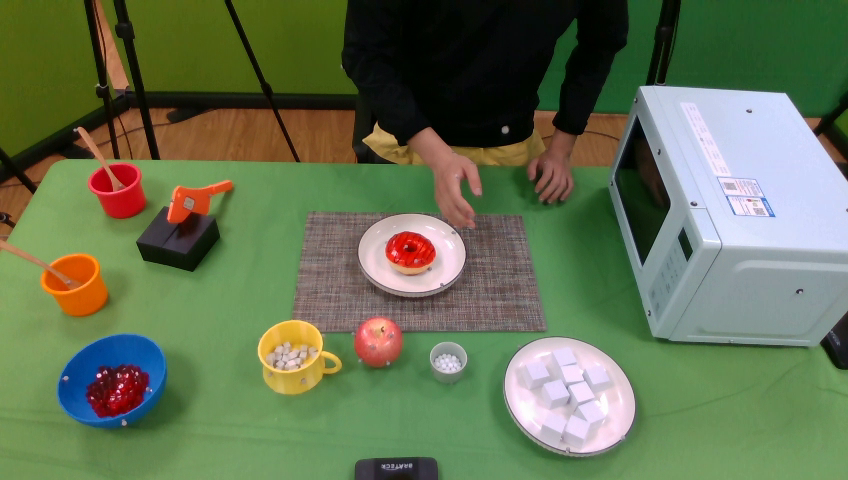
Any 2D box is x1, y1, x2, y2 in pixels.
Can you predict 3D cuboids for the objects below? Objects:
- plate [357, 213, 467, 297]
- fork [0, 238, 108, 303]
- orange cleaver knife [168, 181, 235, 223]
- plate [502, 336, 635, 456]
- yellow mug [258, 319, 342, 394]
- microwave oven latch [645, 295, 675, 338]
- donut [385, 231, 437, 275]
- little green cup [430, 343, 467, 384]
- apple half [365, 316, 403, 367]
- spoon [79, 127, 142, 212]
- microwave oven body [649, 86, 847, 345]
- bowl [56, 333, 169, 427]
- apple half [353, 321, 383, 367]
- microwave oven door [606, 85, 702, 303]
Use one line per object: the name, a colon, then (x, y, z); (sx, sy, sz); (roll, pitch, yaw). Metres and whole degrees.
plate: (-0.023, 0.032, 1.150); (0.209, 0.038, 0.208); (2, 46, -2)
fork: (-0.633, 0.048, 1.017); (0.208, 0.018, 0.028); (40, 43, -27)
orange cleaver knife: (-0.436, -0.078, 1.196); (0.012, 0.077, 0.211); (16, 15, 10)
plate: (0.225, 0.248, 0.963); (0.208, 0.039, 0.206); (2, 46, -2)
yellow mug: (-0.195, 0.188, 0.972); (0.131, 0.064, 0.099); (9, 47, 4)
microwave oven latch: (0.412, 0.134, 1.061); (0.030, 0.029, 0.078); (3, 45, 0)
donut: (-0.025, 0.024, 1.141); (0.099, 0.048, 0.098); (3, 44, -3)
little green cup: (0.039, 0.203, 0.994); (0.061, 0.039, 0.061); (2, 46, -2)
apple half: (-0.063, 0.165, 1.000); (0.053, 0.075, 0.080); (-16, 45, -24)
spoon: (-0.624, -0.140, 1.203); (0.041, 0.021, 0.194); (-33, 100, -26)
microwave oven body: (0.568, -0.053, 1.119); (0.326, 0.261, 0.439); (2, 45, -1)
bowl: (-0.456, 0.223, 0.912); (0.151, 0.077, 0.150); (3, 45, -2)
apple half: (-0.098, 0.177, 0.984); (0.033, 0.081, 0.081); (-17, 49, -25)
microwave oven door: (0.423, -0.094, 1.140); (0.039, 0.245, 0.353); (2, 46, -1)
